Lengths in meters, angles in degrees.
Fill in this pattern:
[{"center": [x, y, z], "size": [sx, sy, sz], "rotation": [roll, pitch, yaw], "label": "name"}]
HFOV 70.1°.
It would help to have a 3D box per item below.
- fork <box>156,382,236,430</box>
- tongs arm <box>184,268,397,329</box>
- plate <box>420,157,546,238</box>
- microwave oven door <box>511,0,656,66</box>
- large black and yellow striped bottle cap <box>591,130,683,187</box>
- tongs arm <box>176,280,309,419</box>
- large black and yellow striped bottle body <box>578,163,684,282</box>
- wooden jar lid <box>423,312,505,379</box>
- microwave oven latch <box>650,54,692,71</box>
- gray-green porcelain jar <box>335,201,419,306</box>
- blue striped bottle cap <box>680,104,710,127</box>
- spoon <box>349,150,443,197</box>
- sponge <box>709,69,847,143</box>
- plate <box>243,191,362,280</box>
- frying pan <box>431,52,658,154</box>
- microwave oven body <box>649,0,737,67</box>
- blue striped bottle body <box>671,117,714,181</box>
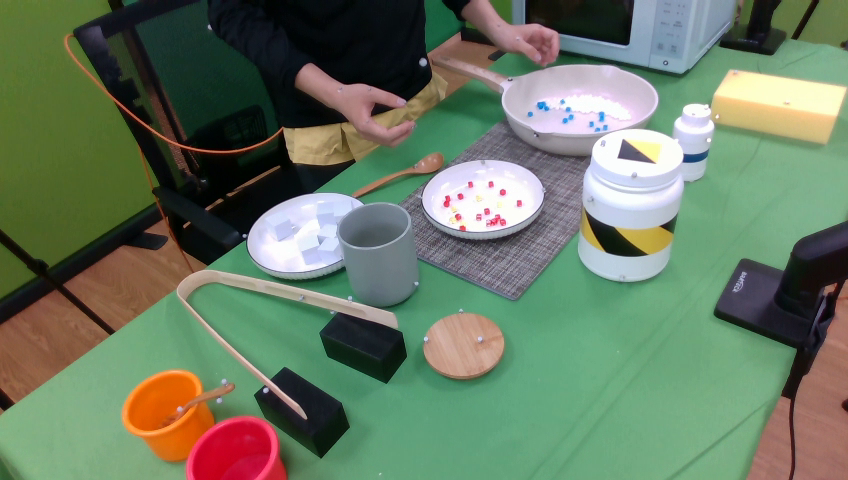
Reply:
[{"center": [-0.262, 0.189, 0.690], "size": [0.018, 0.206, 0.028], "rotation": [49, 43, -7], "label": "fork"}, {"center": [-0.202, 0.084, 0.848], "size": [0.382, 0.027, 0.051], "rotation": [11, 45, 35], "label": "tongs arm"}, {"center": [0.099, -0.067, 1.017], "size": [0.209, 0.038, 0.208], "rotation": [-4, 40, 4], "label": "plate"}, {"center": [0.351, -0.540, 1.349], "size": [0.353, 0.245, 0.039], "rotation": [24, 50, 31], "label": "microwave oven door"}, {"center": [0.282, -0.111, 0.803], "size": [0.115, 0.019, 0.114], "rotation": [-3, 41, 3], "label": "large black and yellow striped bottle cap"}, {"center": [-0.254, 0.133, 0.801], "size": [0.028, 0.028, 0.384], "rotation": [-41, 41, -23], "label": "tongs arm"}, {"center": [0.291, -0.046, 0.859], "size": [0.131, 0.185, 0.130], "rotation": [-4, 41, 4], "label": "large black and yellow striped bottle body"}, {"center": [0.053, 0.142, 0.800], "size": [0.108, 0.021, 0.108], "rotation": [-5, 39, 4], "label": "wooden jar lid"}, {"center": [0.531, -0.386, 1.301], "size": [0.078, 0.029, 0.030], "rotation": [25, 51, 32], "label": "microwave oven latch"}, {"center": [-0.064, 0.024, 0.872], "size": [0.106, 0.127, 0.105], "rotation": [-4, 41, 4], "label": "gray-green porcelain jar"}, {"center": [0.443, -0.205, 0.989], "size": [0.044, 0.021, 0.044], "rotation": [-1, 41, 2], "label": "blue striped bottle cap"}, {"center": [-0.051, -0.123, 1.120], "size": [0.194, 0.022, 0.041], "rotation": [-23, 60, -18], "label": "spoon"}, {"center": [0.663, -0.256, 1.141], "size": [0.205, 0.061, 0.118], "rotation": [18, 47, 28], "label": "sponge"}, {"center": [-0.187, -0.005, 0.992], "size": [0.207, 0.039, 0.206], "rotation": [-4, 41, 4], "label": "plate"}, {"center": [0.216, -0.302, 1.223], "size": [0.484, 0.103, 0.308], "rotation": [29, 49, 25], "label": "frying pan"}, {"center": [0.475, -0.602, 1.411], "size": [0.438, 0.261, 0.327], "rotation": [23, 50, 32], "label": "microwave oven body"}, {"center": [0.449, -0.165, 1.022], "size": [0.063, 0.121, 0.063], "rotation": [-5, 41, 4], "label": "blue striped bottle body"}]
